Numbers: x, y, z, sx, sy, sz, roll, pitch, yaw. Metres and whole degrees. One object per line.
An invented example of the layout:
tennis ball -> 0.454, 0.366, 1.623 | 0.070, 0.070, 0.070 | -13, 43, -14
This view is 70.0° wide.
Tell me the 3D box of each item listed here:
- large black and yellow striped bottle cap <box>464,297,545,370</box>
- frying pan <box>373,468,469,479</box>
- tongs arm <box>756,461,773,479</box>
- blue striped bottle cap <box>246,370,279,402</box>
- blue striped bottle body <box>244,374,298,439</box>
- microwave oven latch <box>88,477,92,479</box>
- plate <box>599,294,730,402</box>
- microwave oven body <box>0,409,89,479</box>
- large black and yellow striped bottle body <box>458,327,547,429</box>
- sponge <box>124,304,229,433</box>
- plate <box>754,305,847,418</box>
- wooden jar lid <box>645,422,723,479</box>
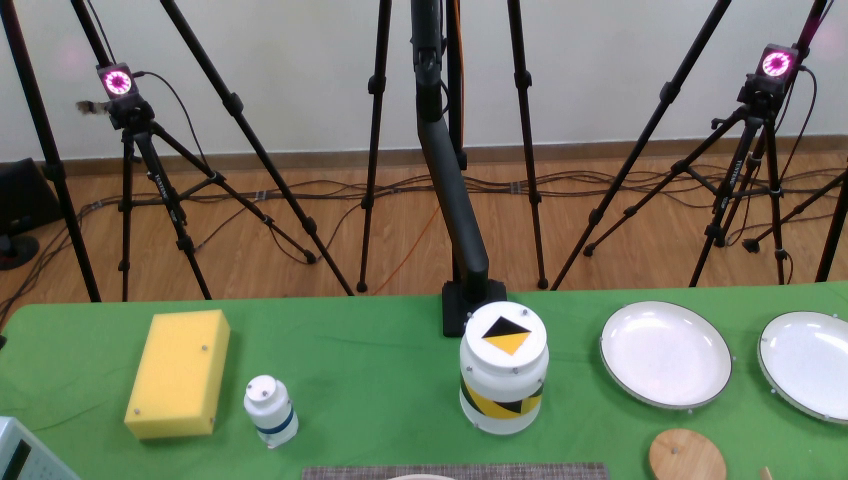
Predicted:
large black and yellow striped bottle cap -> 0.114, 0.130, 0.858 | 0.115, 0.019, 0.114 | -1, 48, 2
frying pan -> -0.074, 0.487, 0.695 | 0.304, 0.103, 0.488 | 31, 47, 29
tongs arm -> 0.493, 0.452, 0.705 | 0.051, 0.027, 0.381 | -5, 59, -7
blue striped bottle cap -> -0.236, 0.212, 0.884 | 0.044, 0.021, 0.044 | -1, 48, 2
blue striped bottle body -> -0.234, 0.248, 0.920 | 0.063, 0.122, 0.062 | -1, 47, 2
microwave oven latch -> -0.486, 0.374, 0.844 | 0.030, 0.030, 0.078 | 2, 47, 4
plate -> 0.396, 0.181, 1.013 | 0.207, 0.039, 0.205 | -1, 47, 2
microwave oven body -> -0.639, 0.439, 0.657 | 0.326, 0.262, 0.437 | -1, 47, 1
large black and yellow striped bottle body -> 0.116, 0.188, 0.919 | 0.131, 0.186, 0.129 | -1, 46, 2
sponge -> -0.403, 0.209, 1.005 | 0.118, 0.061, 0.204 | -5, 47, -2
plate -> 0.645, 0.197, 0.985 | 0.209, 0.038, 0.207 | -1, 46, 2
wooden jar lid -> 0.382, 0.322, 0.893 | 0.108, 0.021, 0.107 | -1, 48, 2
